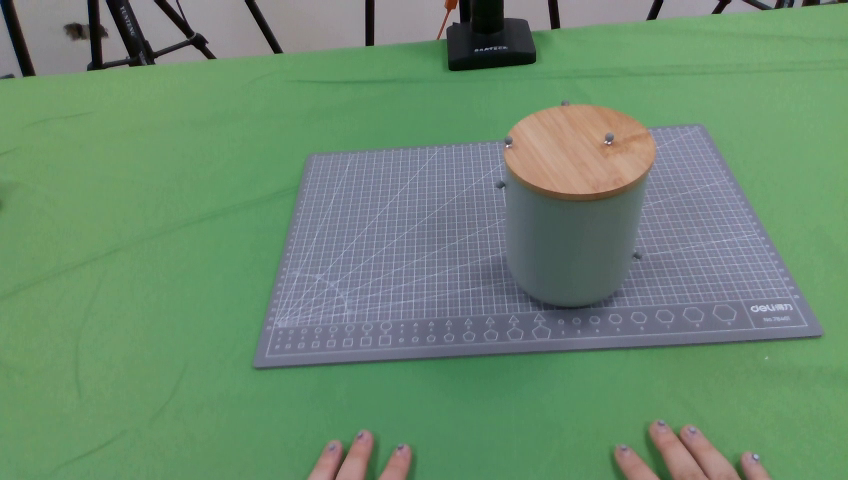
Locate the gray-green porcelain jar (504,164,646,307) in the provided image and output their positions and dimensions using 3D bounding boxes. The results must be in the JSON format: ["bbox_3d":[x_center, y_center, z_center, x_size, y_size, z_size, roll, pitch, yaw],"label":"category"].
[{"bbox_3d":[0.118,-0.017,0.493,0.106,0.128,0.105,-4,43,4],"label":"gray-green porcelain jar"}]

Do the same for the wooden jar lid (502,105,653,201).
[{"bbox_3d":[0.112,-0.062,0.450,0.108,0.021,0.107,-5,44,5],"label":"wooden jar lid"}]
